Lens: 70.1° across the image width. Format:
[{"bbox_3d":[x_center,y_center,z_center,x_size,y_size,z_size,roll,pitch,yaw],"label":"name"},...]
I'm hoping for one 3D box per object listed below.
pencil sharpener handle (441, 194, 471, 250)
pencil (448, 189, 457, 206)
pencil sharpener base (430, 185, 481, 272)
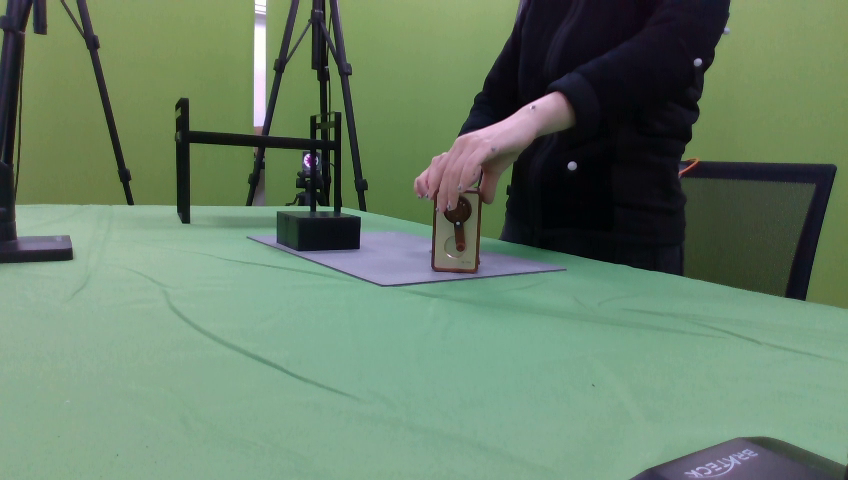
[{"bbox_3d":[0.041,-0.022,0.731,0.036,0.067,0.030,-10,7,5],"label":"pencil sharpener handle"},{"bbox_3d":[0.041,-0.062,0.888,0.012,0.012,0.194,3,10,4],"label":"pencil"},{"bbox_3d":[0.041,-0.016,0.783,0.061,0.107,0.076,3,8,4],"label":"pencil sharpener base"}]
